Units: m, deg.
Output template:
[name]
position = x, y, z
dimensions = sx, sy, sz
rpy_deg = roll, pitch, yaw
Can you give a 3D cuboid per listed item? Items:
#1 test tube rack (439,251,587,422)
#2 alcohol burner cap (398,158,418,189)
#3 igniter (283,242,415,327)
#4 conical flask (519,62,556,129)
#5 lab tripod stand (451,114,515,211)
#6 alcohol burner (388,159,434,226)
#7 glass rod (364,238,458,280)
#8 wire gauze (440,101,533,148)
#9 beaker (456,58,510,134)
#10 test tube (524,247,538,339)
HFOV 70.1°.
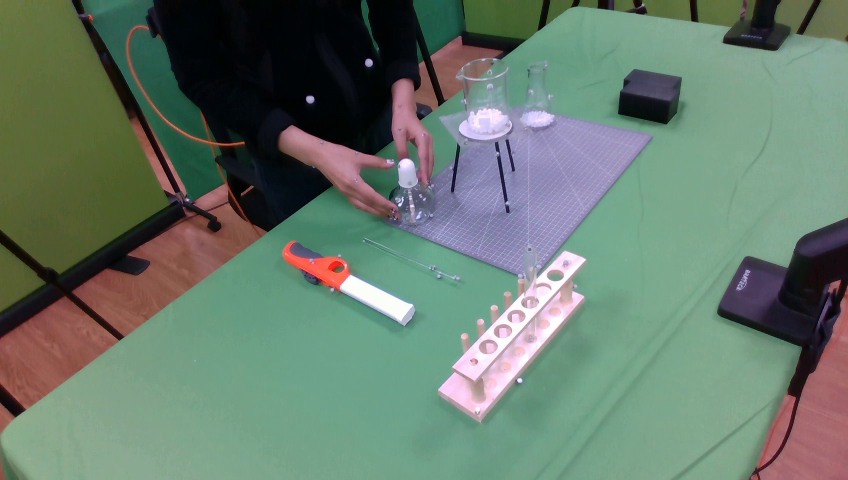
[test tube rack]
position = 0.118, 0.111, 0.780
dimensions = 0.066, 0.085, 0.243
rpy_deg = 26, 51, 35
[alcohol burner cap]
position = -0.027, -0.111, 0.989
dimensions = 0.034, 0.048, 0.033
rpy_deg = -3, 46, 4
[igniter]
position = -0.126, 0.062, 0.931
dimensions = 0.274, 0.025, 0.057
rpy_deg = 24, 61, 33
[conical flask]
position = 0.225, -0.288, 1.198
dimensions = 0.075, 0.122, 0.075
rpy_deg = -6, 40, 5
[lab tripod stand]
position = 0.113, -0.140, 1.037
dimensions = 0.148, 0.132, 0.147
rpy_deg = -6, 38, 5
[alcohol burner]
position = -0.024, -0.084, 1.012
dimensions = 0.078, 0.119, 0.077
rpy_deg = -4, 39, 4
[glass rod]
position = -0.026, 0.029, 0.966
dimensions = 0.198, 0.008, 0.008
rpy_deg = 21, 49, 35
[wire gauze]
position = 0.100, -0.189, 0.995
dimensions = 0.125, 0.011, 0.120
rpy_deg = -16, 37, -6
[beaker]
position = 0.098, -0.226, 0.964
dimensions = 0.084, 0.101, 0.073
rpy_deg = -7, 39, 4
[test tube]
position = 0.133, 0.070, 0.749
dimensions = 0.017, 0.151, 0.017
rpy_deg = -5, 38, 4
